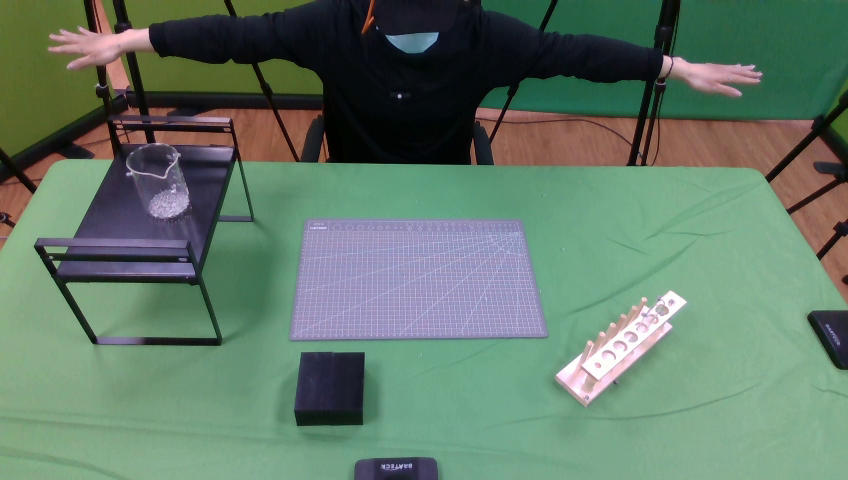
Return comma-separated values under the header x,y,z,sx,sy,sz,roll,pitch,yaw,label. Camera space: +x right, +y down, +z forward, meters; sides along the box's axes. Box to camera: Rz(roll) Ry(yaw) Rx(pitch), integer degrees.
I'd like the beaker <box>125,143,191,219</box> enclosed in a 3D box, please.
x,y,z,sx,sy,sz,roll,pitch,yaw,label
-0.409,-0.088,0.946,0.074,0.101,0.083,-28,54,-26,beaker

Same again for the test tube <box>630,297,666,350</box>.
x,y,z,sx,sy,sz,roll,pitch,yaw,label
0.354,0.137,0.973,0.017,0.151,0.017,2,52,-2,test tube

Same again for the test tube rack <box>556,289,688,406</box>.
x,y,z,sx,sy,sz,roll,pitch,yaw,label
0.332,0.166,1.014,0.242,0.085,0.066,-30,55,-28,test tube rack
